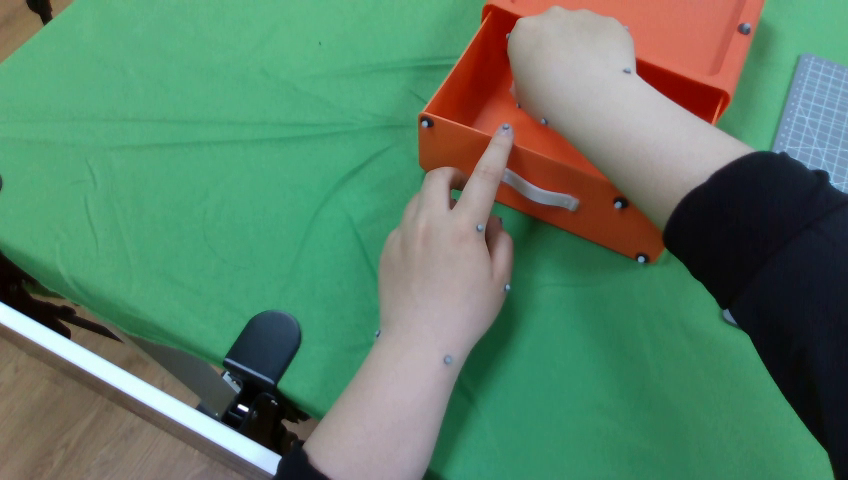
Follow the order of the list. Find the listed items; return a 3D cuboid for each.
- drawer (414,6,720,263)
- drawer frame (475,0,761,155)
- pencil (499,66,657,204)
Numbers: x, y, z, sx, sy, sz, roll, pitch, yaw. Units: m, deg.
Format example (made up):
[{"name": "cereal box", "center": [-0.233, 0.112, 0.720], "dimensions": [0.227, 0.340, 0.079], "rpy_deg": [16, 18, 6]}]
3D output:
[{"name": "drawer", "center": [0.124, -0.112, 0.480], "dimensions": [0.194, 0.074, 0.211], "rpy_deg": [24, 62, 12]}, {"name": "drawer frame", "center": [0.177, -0.205, 0.530], "dimensions": [0.201, 0.083, 0.212], "rpy_deg": [24, 62, 12]}, {"name": "pencil", "center": [0.119, -0.093, 0.506], "dimensions": [0.012, 0.012, 0.192], "rpy_deg": [-33, 66, -18]}]
